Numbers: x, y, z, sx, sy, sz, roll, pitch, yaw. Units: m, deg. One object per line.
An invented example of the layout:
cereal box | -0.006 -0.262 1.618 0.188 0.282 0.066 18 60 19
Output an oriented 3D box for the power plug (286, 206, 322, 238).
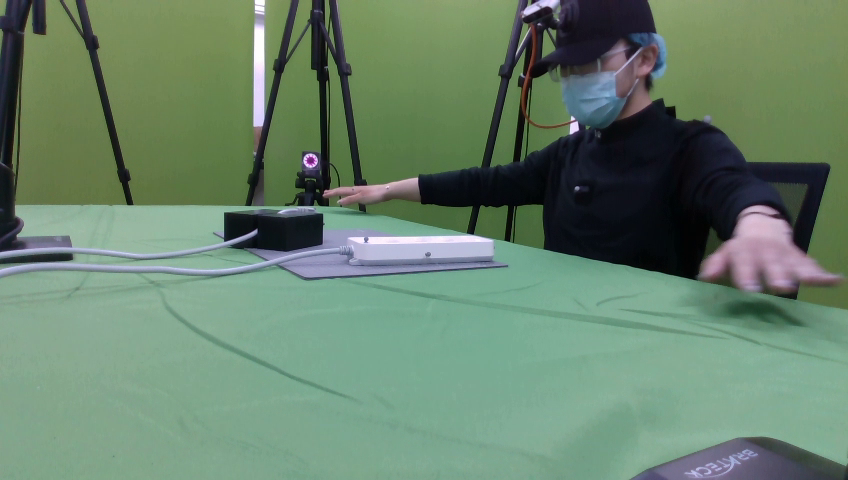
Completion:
power plug | -0.203 -0.029 1.001 0.073 0.052 0.035 -1 4 -41

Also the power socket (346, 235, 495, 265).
power socket | -0.002 0.012 0.852 0.228 0.032 0.072 -2 7 -26
